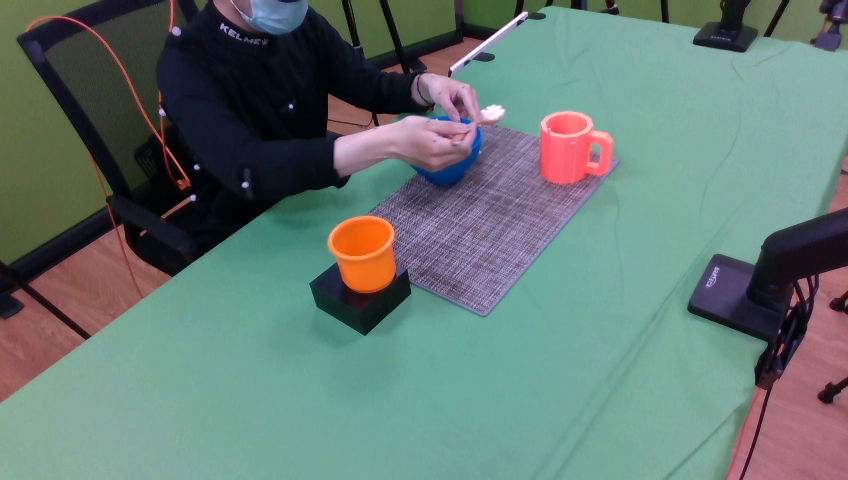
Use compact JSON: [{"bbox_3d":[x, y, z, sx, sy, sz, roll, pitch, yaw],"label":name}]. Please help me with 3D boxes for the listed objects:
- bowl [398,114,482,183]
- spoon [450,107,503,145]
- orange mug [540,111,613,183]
[{"bbox_3d":[0.032,-0.156,1.097,0.151,0.077,0.150,-4,41,4],"label":"bowl"},{"bbox_3d":[0.081,-0.183,0.955,0.041,0.021,0.194,20,29,18],"label":"spoon"},{"bbox_3d":[0.263,-0.159,1.052,0.125,0.101,0.083,13,44,28],"label":"orange mug"}]
